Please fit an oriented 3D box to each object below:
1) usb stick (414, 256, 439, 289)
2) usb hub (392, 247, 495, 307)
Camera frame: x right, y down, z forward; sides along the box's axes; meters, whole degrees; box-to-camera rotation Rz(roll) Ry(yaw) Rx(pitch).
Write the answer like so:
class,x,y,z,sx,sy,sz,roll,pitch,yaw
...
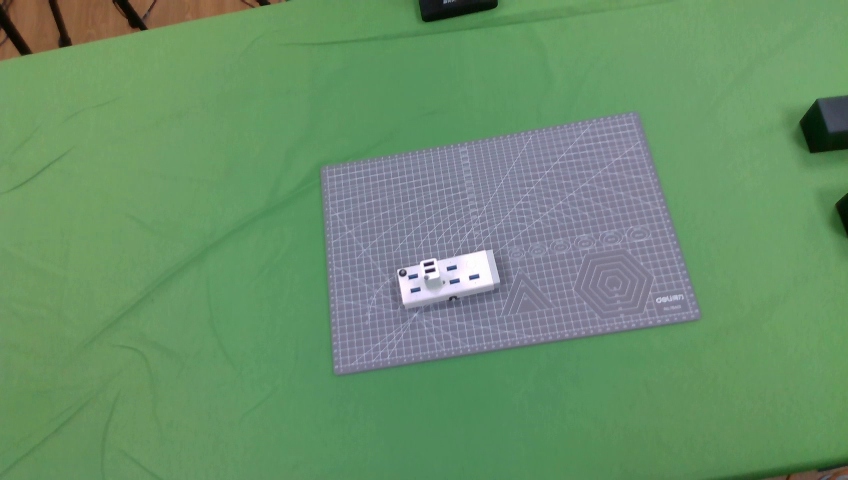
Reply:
class,x,y,z,sx,sy,sz,roll,pitch,yaw
usb stick,0.004,0.043,0.739,0.021,0.059,0.027,-16,65,1
usb hub,0.024,0.046,0.766,0.125,0.025,0.049,-13,66,1
